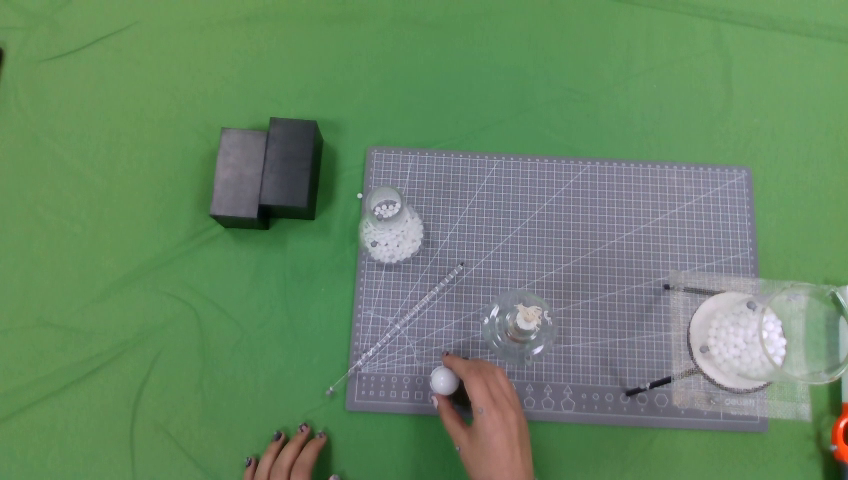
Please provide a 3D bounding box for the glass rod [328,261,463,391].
[{"bbox_3d":[-0.029,0.092,0.658,0.199,0.008,0.008,-43,81,-10],"label":"glass rod"}]

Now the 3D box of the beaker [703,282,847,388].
[{"bbox_3d":[0.280,0.075,0.487,0.074,0.100,0.084,38,80,7],"label":"beaker"}]

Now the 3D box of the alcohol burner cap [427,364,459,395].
[{"bbox_3d":[0.021,0.146,0.631,0.034,0.048,0.033,1,81,-4],"label":"alcohol burner cap"}]

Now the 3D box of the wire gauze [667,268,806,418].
[{"bbox_3d":[0.276,0.090,0.533,0.125,0.011,0.121,6,80,-1],"label":"wire gauze"}]

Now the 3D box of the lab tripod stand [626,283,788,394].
[{"bbox_3d":[0.275,0.107,0.597,0.148,0.132,0.147,0,79,0],"label":"lab tripod stand"}]

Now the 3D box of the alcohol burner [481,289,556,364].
[{"bbox_3d":[0.097,0.085,0.609,0.078,0.119,0.077,0,77,1],"label":"alcohol burner"}]

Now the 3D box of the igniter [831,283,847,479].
[{"bbox_3d":[0.456,0.183,0.640,0.057,0.025,0.275,10,77,-10],"label":"igniter"}]

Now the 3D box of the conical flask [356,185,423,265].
[{"bbox_3d":[-0.038,-0.021,0.626,0.075,0.122,0.075,0,76,0],"label":"conical flask"}]
